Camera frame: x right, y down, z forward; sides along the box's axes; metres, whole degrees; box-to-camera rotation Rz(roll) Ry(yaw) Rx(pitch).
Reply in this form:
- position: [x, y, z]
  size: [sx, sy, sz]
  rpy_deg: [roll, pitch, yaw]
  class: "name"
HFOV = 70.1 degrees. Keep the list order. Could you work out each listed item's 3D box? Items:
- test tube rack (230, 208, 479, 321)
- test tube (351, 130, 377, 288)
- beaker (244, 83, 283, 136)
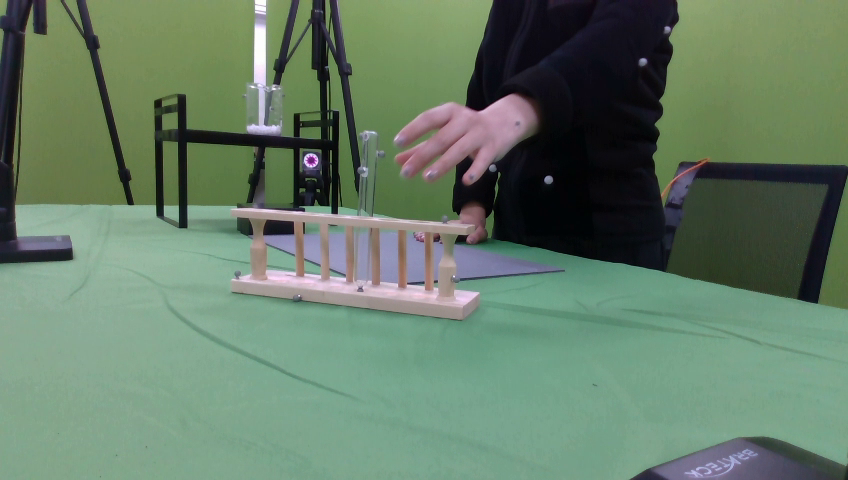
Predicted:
- position: [-0.069, 0.017, 0.598]
  size: [0.242, 0.085, 0.067]
  rpy_deg: [5, 8, 18]
  class: "test tube rack"
- position: [-0.057, -0.029, 0.576]
  size: [0.017, 0.150, 0.017]
  rpy_deg: [4, 4, 0]
  class: "test tube"
- position: [-0.322, -0.260, 1.215]
  size: [0.074, 0.100, 0.083]
  rpy_deg: [-1, 9, -27]
  class: "beaker"
